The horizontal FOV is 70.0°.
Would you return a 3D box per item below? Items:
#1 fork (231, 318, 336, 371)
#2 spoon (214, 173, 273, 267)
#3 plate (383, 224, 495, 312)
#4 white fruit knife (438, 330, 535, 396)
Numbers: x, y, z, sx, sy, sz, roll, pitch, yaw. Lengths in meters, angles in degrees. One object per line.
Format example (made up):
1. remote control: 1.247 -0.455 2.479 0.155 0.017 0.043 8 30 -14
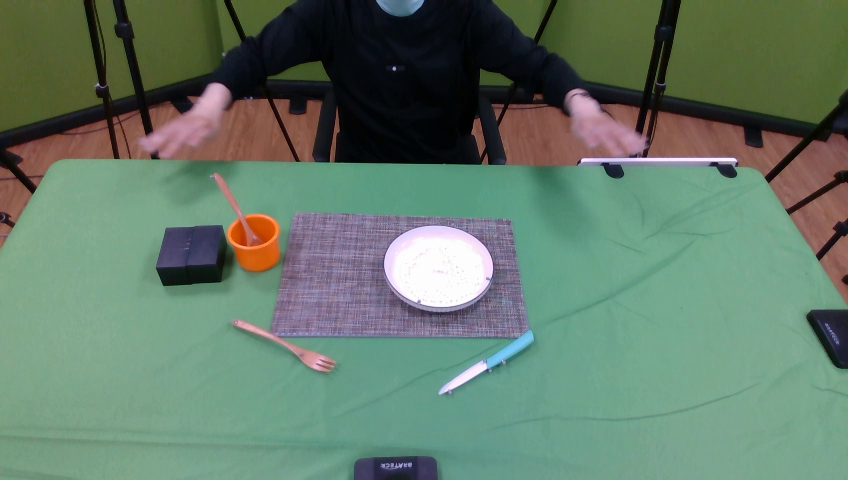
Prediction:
1. fork: -0.239 0.173 1.014 0.207 0.019 0.028 23 55 15
2. spoon: -0.335 -0.037 1.121 0.041 0.194 0.021 -29 10 -23
3. plate: 0.026 0.055 1.128 0.209 0.038 0.208 2 46 -2
4. white fruit knife: 0.108 0.206 1.009 0.207 0.016 0.027 -27 30 -22
